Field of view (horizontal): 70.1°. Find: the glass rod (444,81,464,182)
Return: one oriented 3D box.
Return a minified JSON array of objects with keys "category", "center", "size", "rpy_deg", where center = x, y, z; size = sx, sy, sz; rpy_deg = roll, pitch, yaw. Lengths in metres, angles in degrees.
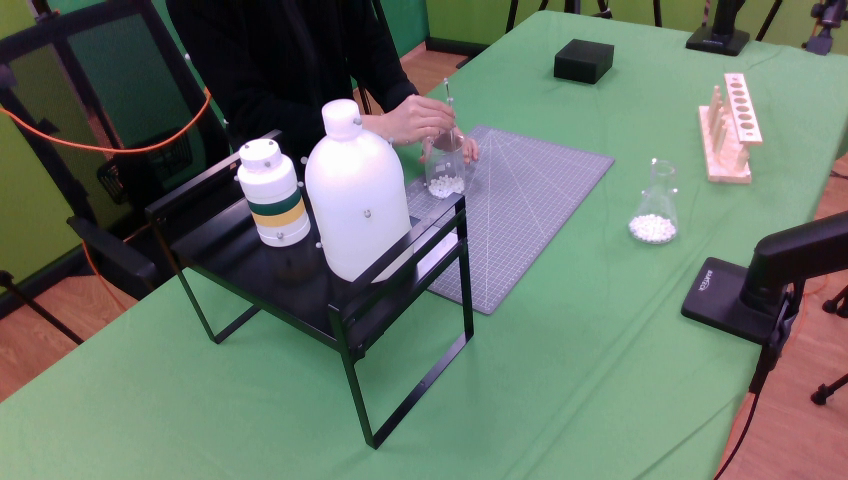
[{"category":"glass rod","center":[0.052,-0.178,1.023],"size":[0.008,0.201,0.008],"rpy_deg":[-7,42,7]}]

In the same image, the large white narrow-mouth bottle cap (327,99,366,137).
[{"category":"large white narrow-mouth bottle cap","center":[-0.075,-0.118,0.582],"size":[0.038,0.024,0.037],"rpy_deg":[-3,40,3]}]

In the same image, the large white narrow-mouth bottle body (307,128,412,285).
[{"category":"large white narrow-mouth bottle body","center":[-0.070,-0.051,0.638],"size":[0.102,0.195,0.101],"rpy_deg":[-3,40,3]}]

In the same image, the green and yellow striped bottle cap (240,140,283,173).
[{"category":"green and yellow striped bottle cap","center":[-0.183,-0.094,0.679],"size":[0.045,0.020,0.045],"rpy_deg":[-4,38,4]}]

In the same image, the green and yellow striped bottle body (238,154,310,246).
[{"category":"green and yellow striped bottle body","center":[-0.178,-0.056,0.714],"size":[0.063,0.120,0.063],"rpy_deg":[-4,40,4]}]

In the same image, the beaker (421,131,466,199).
[{"category":"beaker","center":[0.039,-0.131,1.060],"size":[0.084,0.101,0.073],"rpy_deg":[-23,43,-19]}]

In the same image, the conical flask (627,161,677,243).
[{"category":"conical flask","center":[0.355,-0.061,0.921],"size":[0.075,0.122,0.075],"rpy_deg":[-4,41,4]}]

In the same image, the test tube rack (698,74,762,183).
[{"category":"test tube rack","center":[0.547,-0.208,1.095],"size":[0.066,0.085,0.242],"rpy_deg":[5,42,15]}]
